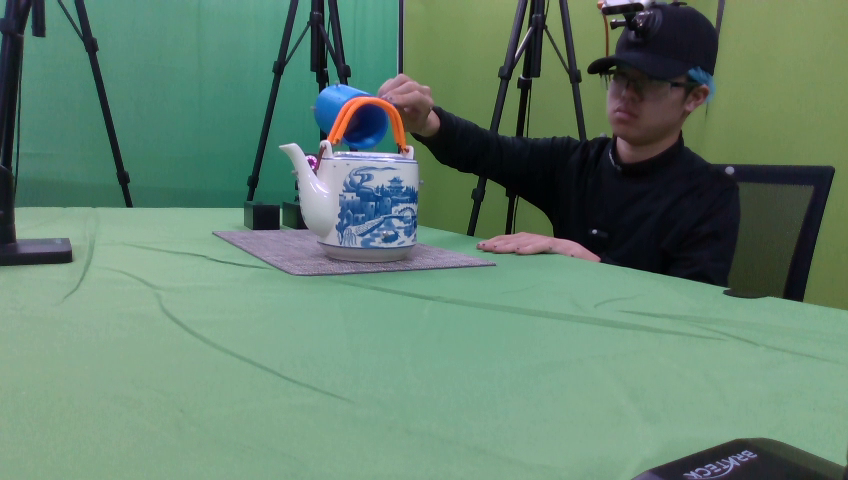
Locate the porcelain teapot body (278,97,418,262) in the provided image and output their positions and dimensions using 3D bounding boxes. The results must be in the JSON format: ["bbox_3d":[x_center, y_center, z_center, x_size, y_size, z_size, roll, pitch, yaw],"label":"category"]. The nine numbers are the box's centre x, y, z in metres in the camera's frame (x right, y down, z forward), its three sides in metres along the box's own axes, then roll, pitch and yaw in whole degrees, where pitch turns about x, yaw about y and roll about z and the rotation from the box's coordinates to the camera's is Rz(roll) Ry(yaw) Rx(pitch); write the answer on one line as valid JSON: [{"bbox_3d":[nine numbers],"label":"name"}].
[{"bbox_3d":[-0.103,-0.086,0.842,0.206,0.225,0.144,-4,9,-38],"label":"porcelain teapot body"}]

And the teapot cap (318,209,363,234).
[{"bbox_3d":[-0.158,-0.036,1.144,0.085,0.044,0.085,0,6,0],"label":"teapot cap"}]

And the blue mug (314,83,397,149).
[{"bbox_3d":[-0.098,-0.197,0.924,0.117,0.082,0.105,-26,31,-19],"label":"blue mug"}]
